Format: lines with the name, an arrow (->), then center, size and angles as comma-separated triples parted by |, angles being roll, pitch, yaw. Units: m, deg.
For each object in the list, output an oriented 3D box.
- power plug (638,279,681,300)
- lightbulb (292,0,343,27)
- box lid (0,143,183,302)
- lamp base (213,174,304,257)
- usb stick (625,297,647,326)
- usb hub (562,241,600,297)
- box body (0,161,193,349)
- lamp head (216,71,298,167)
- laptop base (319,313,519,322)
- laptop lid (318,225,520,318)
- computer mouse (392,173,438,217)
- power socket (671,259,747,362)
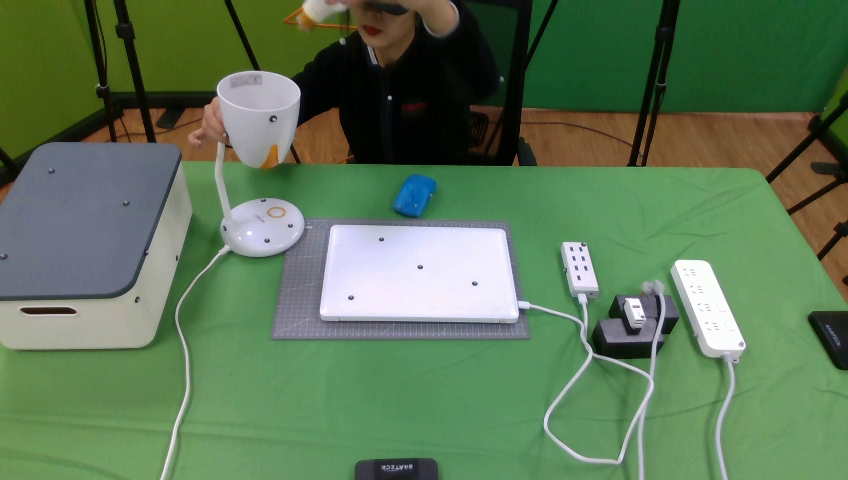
power plug -> 0.434, 0.099, 1.119 | 0.073, 0.053, 0.035 | 34, 38, -16
lightbulb -> -0.150, -0.341, 0.852 | 0.060, 0.108, 0.059 | 32, 38, -29
box lid -> -0.567, -0.045, 0.999 | 0.263, 0.015, 0.369 | -1, 45, -4
lamp base -> -0.324, -0.074, 1.135 | 0.160, 0.181, 0.179 | 28, 53, 23
usb stick -> 0.360, 0.117, 1.034 | 0.021, 0.027, 0.059 | -3, 43, -2
usb hub -> 0.300, 0.054, 1.162 | 0.049, 0.025, 0.124 | 3, 46, -3
box body -> -0.570, 0.006, 1.054 | 0.254, 0.161, 0.361 | -1, 46, -4
lamp head -> -0.240, -0.169, 0.875 | 0.112, 0.123, 0.111 | 9, 45, -8
laptop base -> -0.009, 0.062, 1.137 | 0.354, 0.023, 0.234 | 1, 42, -3
laptop lid -> -0.009, 0.052, 1.131 | 0.357, 0.013, 0.240 | 2, 43, -2
computer mouse -> -0.018, -0.098, 1.282 | 0.062, 0.041, 0.117 | 20, 52, 13
power socket -> 0.517, 0.119, 1.108 | 0.072, 0.033, 0.225 | 1, 46, -2
